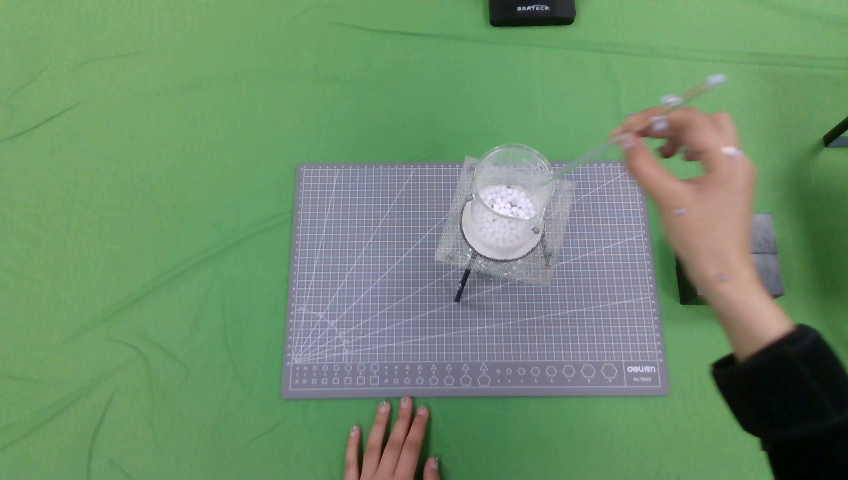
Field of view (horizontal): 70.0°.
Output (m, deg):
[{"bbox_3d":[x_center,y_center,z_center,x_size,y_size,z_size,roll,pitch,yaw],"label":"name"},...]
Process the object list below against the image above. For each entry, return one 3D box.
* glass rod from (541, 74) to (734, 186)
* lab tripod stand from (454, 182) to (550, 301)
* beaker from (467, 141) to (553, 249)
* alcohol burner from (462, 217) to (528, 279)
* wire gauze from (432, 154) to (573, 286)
[{"bbox_3d":[0.145,-0.074,0.452,0.008,0.199,0.008,7,74,-23],"label":"glass rod"},{"bbox_3d":[0.079,-0.003,0.691,0.148,0.132,0.147,-1,72,2],"label":"lab tripod stand"},{"bbox_3d":[0.080,-0.036,0.581,0.074,0.101,0.083,-27,73,-8],"label":"beaker"},{"bbox_3d":[0.083,0.004,0.699,0.078,0.120,0.077,-1,73,2],"label":"alcohol burner"},{"bbox_3d":[0.084,-0.022,0.627,0.121,0.011,0.124,16,71,5],"label":"wire gauze"}]
